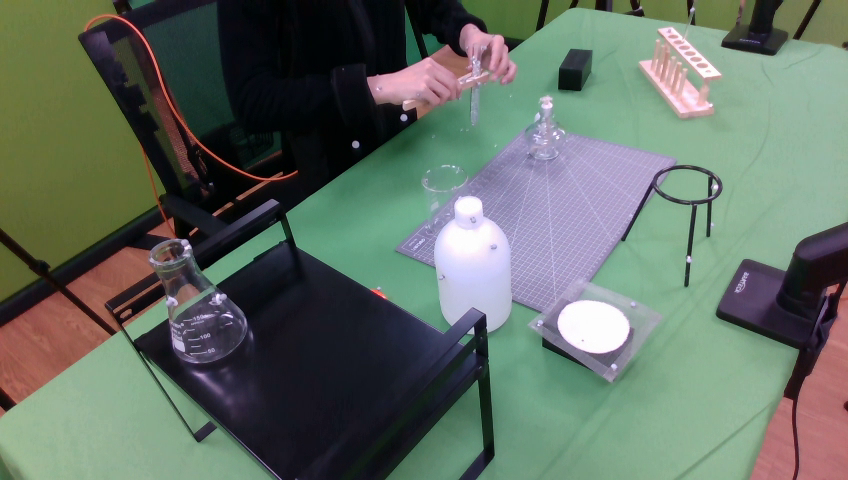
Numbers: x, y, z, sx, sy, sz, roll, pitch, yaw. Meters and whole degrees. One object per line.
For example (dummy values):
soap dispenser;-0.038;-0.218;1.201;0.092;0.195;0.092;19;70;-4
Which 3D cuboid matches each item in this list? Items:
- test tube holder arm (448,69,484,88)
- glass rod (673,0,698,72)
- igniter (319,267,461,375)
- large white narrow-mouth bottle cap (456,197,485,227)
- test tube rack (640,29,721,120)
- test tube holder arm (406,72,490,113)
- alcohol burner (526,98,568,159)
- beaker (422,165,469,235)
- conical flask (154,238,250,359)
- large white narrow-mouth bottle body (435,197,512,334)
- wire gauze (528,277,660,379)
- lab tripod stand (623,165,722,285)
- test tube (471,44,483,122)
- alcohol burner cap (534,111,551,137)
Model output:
test tube holder arm;0.070;-0.266;1.014;0.010;0.015;0.088;30;49;29
glass rod;0.537;-0.425;1.244;0.008;0.200;0.008;0;47;0
igniter;-0.060;0.108;0.862;0.274;0.025;0.057;28;62;35
large white narrow-mouth bottle cap;0.058;-0.036;0.750;0.038;0.024;0.037;-4;40;4
test tube rack;0.527;-0.351;1.262;0.067;0.085;0.241;-8;40;1
test tube holder arm;0.042;-0.243;0.987;0.179;0.015;0.013;-30;49;-30
alcohol burner;0.228;-0.210;1.118;0.078;0.119;0.077;-5;43;5
beaker;0.041;-0.063;0.986;0.073;0.101;0.084;20;47;29
conical flask;-0.225;0.055;0.597;0.075;0.122;0.075;-5;41;4
large white narrow-mouth bottle body;0.066;0.028;0.805;0.102;0.195;0.101;-4;40;4
wire gauze;0.214;0.103;0.763;0.124;0.011;0.122;30;52;35
lab tripod stand;0.365;-0.030;0.875;0.148;0.132;0.147;-6;41;6
test tube;0.090;-0.264;1.034;0.017;0.151;0.017;-1;48;1
alcohol burner cap;0.235;-0.231;1.197;0.034;0.048;0.033;-5;38;5
